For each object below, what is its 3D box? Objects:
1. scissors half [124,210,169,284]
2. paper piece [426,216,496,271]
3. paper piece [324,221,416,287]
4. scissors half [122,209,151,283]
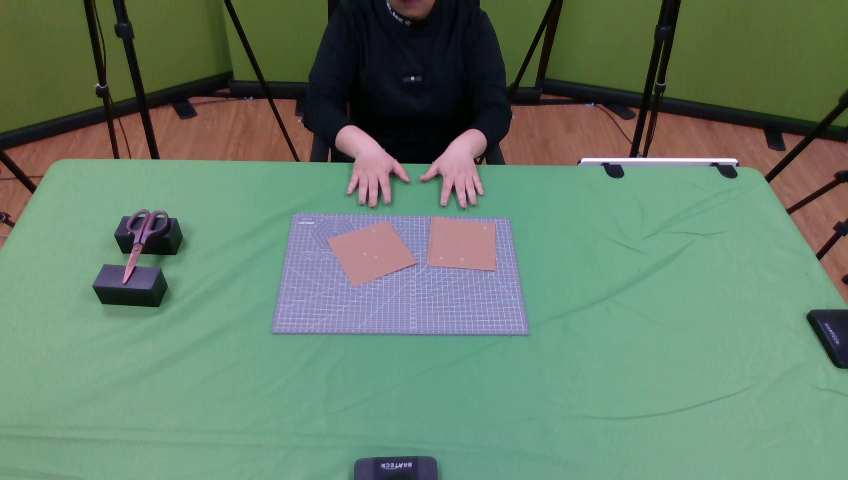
[{"bbox_3d":[-0.501,0.010,1.088,0.040,0.013,0.174,8,48,1],"label":"scissors half"},{"bbox_3d":[0.075,0.006,1.204,0.138,0.009,0.135,6,49,1],"label":"paper piece"},{"bbox_3d":[-0.105,0.022,1.174,0.135,0.004,0.135,-19,50,-21],"label":"paper piece"},{"bbox_3d":[-0.521,0.009,1.085,0.040,0.013,0.174,0,48,-13],"label":"scissors half"}]
